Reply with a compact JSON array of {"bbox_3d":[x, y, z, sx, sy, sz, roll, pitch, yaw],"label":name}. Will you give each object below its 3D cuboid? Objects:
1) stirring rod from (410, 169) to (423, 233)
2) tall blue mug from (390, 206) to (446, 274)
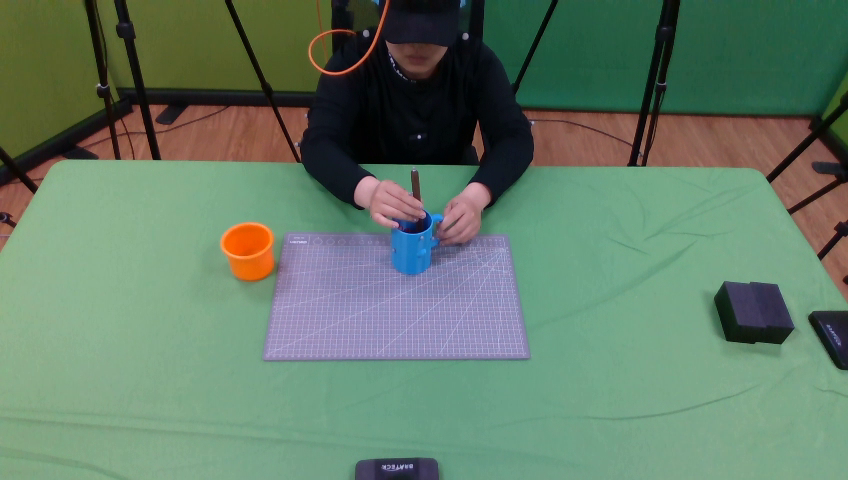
[{"bbox_3d":[-0.011,-0.052,1.082,0.014,0.177,0.006,5,41,12],"label":"stirring rod"},{"bbox_3d":[-0.016,-0.008,1.142,0.077,0.108,0.107,23,49,19],"label":"tall blue mug"}]
